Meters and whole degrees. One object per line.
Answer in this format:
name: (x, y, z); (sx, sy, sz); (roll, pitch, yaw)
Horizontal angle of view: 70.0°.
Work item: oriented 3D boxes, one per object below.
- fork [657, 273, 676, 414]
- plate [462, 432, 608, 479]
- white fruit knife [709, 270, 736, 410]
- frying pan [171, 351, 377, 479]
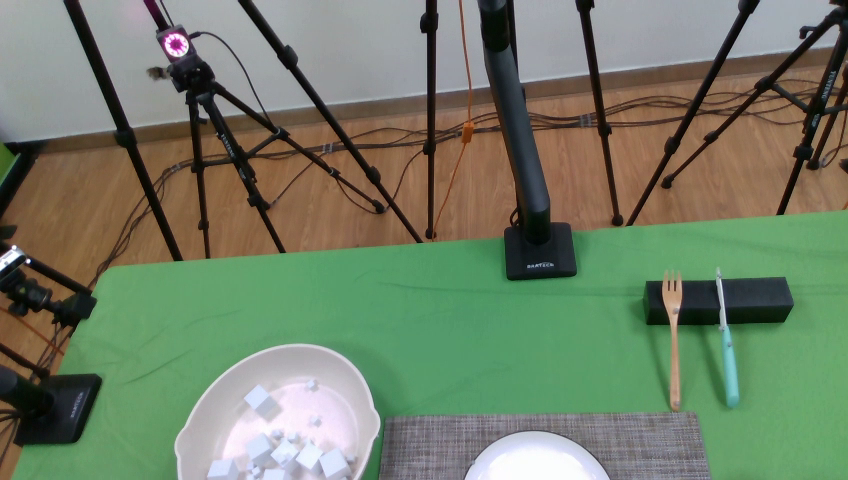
fork: (0.360, 0.149, 0.891); (0.028, 0.019, 0.206); (4, 71, 6)
plate: (0.145, 0.358, 0.790); (0.207, 0.039, 0.205); (-6, 51, 8)
white fruit knife: (0.431, 0.141, 0.881); (0.016, 0.027, 0.206); (-2, 67, 10)
frying pan: (-0.214, 0.375, 0.814); (0.306, 0.104, 0.483); (-7, 42, 7)
